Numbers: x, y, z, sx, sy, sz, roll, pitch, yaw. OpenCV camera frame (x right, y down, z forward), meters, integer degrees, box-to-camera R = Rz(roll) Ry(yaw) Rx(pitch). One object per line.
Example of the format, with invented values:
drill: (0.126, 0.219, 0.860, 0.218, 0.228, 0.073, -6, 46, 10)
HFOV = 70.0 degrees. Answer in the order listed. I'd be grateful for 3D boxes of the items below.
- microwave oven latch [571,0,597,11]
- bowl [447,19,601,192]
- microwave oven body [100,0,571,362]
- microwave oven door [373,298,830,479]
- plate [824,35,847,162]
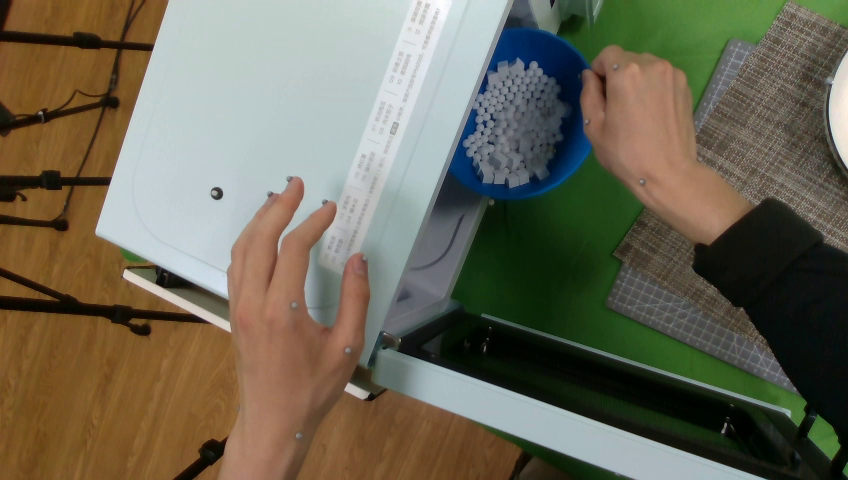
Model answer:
microwave oven latch: (0.172, -0.274, 0.606, 0.030, 0.029, 0.079, 24, 99, 13)
bowl: (0.086, -0.117, 0.564, 0.151, 0.077, 0.151, 0, 92, 14)
microwave oven body: (-0.051, -0.164, 0.575, 0.324, 0.261, 0.442, 23, 99, 14)
microwave oven door: (0.160, 0.129, 0.522, 0.354, 0.244, 0.039, 15, 96, 16)
plate: (0.473, -0.130, 0.541, 0.208, 0.038, 0.209, 0, 92, 16)
